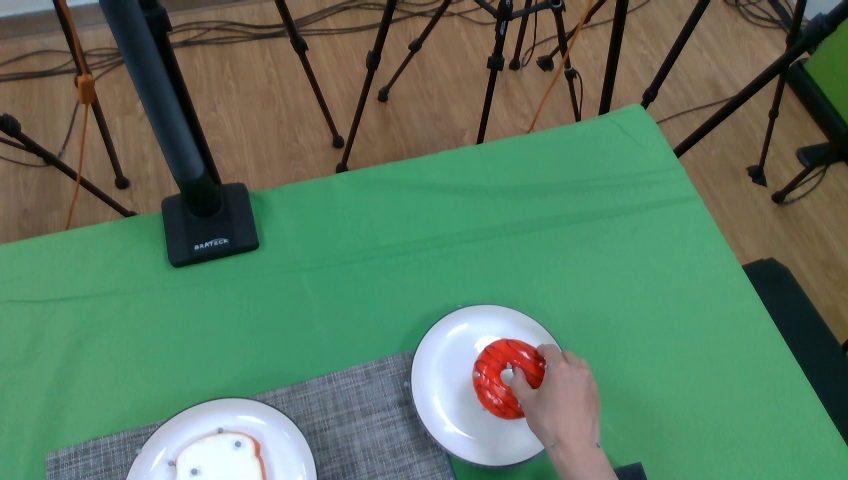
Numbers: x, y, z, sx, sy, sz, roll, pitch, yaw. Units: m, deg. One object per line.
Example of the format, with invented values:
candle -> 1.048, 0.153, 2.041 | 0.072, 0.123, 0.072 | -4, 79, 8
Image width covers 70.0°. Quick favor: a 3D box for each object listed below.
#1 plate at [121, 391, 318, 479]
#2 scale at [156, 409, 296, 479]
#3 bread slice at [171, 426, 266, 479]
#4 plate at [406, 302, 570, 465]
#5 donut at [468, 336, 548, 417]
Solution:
plate -> -0.221, 0.272, 0.664 | 0.209, 0.038, 0.207 | 2, 62, -4
scale -> -0.217, 0.303, 0.685 | 0.149, 0.032, 0.199 | -13, 64, -11
bread slice -> -0.227, 0.273, 0.666 | 0.105, 0.019, 0.130 | -9, 64, -11
plate -> 0.080, 0.182, 0.776 | 0.208, 0.039, 0.206 | 2, 62, -4
donut -> 0.102, 0.166, 0.739 | 0.099, 0.048, 0.098 | -1, 68, 2
